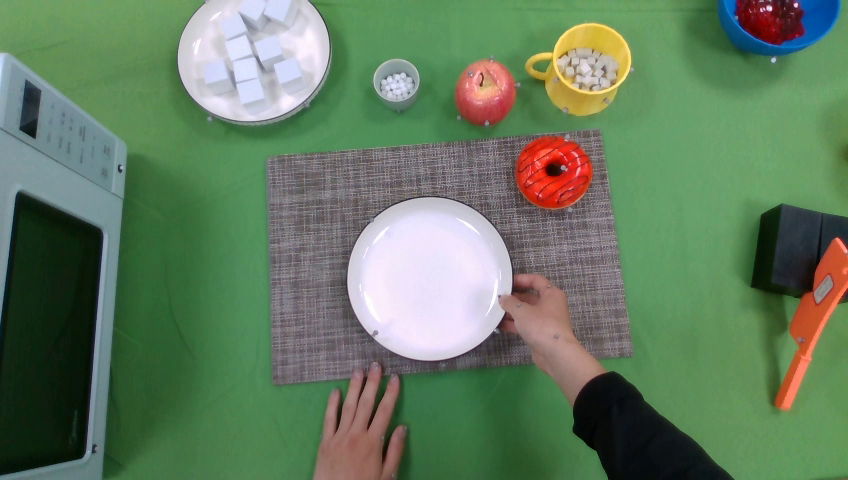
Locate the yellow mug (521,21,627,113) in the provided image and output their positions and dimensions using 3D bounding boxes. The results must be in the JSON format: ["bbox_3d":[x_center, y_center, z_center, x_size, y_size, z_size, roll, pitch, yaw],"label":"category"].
[{"bbox_3d":[0.194,-0.229,0.802,0.131,0.064,0.099,6,78,3],"label":"yellow mug"}]

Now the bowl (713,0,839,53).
[{"bbox_3d":[0.452,-0.308,0.807,0.151,0.077,0.150,0,79,2],"label":"bowl"}]

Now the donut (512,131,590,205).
[{"bbox_3d":[0.162,-0.093,0.781,0.099,0.048,0.098,-1,79,3],"label":"donut"}]

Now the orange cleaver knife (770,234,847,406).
[{"bbox_3d":[0.451,0.097,0.718,0.012,0.077,0.212,14,111,6],"label":"orange cleaver knife"}]

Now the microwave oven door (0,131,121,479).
[{"bbox_3d":[-0.406,0.090,0.637,0.039,0.245,0.354,-2,78,1],"label":"microwave oven door"}]

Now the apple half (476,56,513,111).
[{"bbox_3d":[0.097,-0.208,0.795,0.033,0.081,0.081,-32,79,-1],"label":"apple half"}]

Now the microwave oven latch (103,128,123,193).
[{"bbox_3d":[-0.407,-0.102,0.781,0.030,0.029,0.079,0,79,1],"label":"microwave oven latch"}]

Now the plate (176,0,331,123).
[{"bbox_3d":[-0.229,-0.254,0.828,0.208,0.039,0.206,0,78,1],"label":"plate"}]

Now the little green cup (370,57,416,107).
[{"bbox_3d":[-0.040,-0.210,0.816,0.061,0.039,0.061,0,78,1],"label":"little green cup"}]

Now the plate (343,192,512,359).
[{"bbox_3d":[0.004,0.044,0.757,0.209,0.038,0.208,0,79,2],"label":"plate"}]

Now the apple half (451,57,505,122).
[{"bbox_3d":[0.064,-0.188,0.793,0.053,0.075,0.080,-31,83,-1],"label":"apple half"}]

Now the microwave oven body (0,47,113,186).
[{"bbox_3d":[-0.553,0.055,0.652,0.326,0.261,0.439,-2,79,0],"label":"microwave oven body"}]
